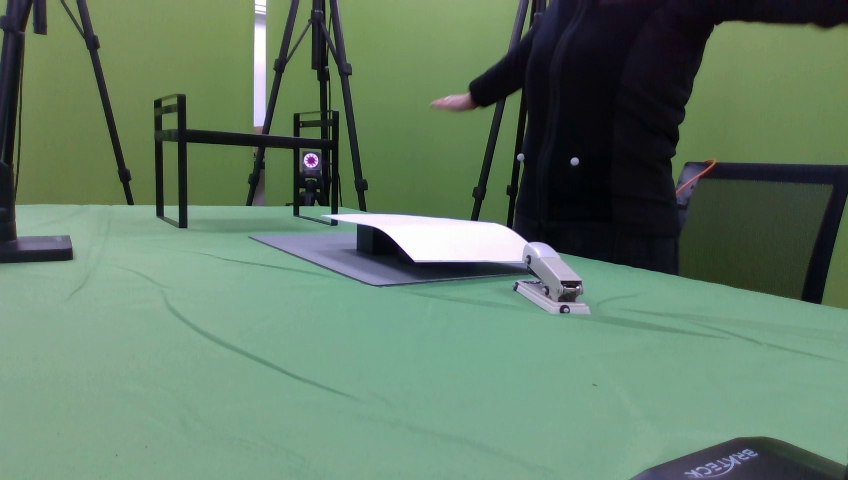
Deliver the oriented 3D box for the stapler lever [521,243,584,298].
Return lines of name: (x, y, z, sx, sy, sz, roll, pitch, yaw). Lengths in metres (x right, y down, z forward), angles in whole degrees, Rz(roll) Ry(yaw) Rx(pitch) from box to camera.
stapler lever: (0.132, 0.029, 0.634, 0.027, 0.040, 0.118, 0, 8, -10)

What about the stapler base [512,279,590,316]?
stapler base: (0.130, 0.053, 0.639, 0.041, 0.024, 0.130, 0, 9, -10)
